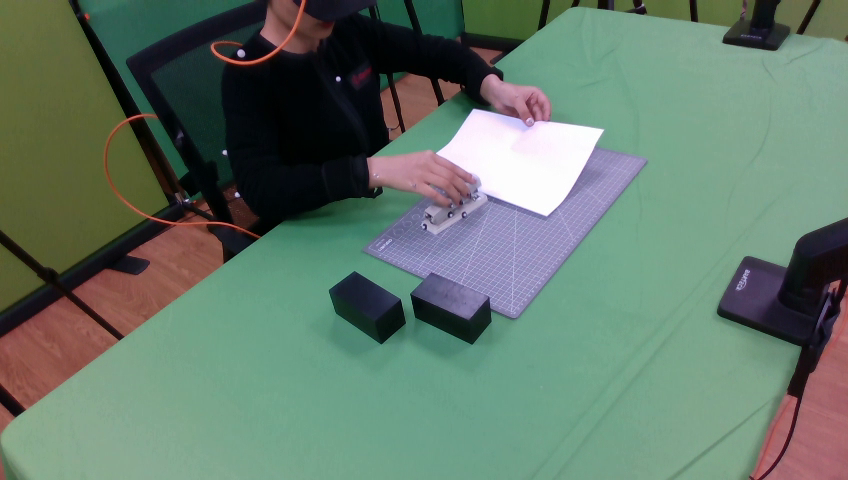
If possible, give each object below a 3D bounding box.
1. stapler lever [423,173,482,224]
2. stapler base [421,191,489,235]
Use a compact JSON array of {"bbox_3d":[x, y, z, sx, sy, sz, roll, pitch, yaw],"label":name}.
[{"bbox_3d":[0.050,-0.072,1.015,0.118,0.040,0.026,-33,43,-24],"label":"stapler lever"},{"bbox_3d":[0.054,-0.055,1.032,0.131,0.024,0.041,-34,44,-24],"label":"stapler base"}]
